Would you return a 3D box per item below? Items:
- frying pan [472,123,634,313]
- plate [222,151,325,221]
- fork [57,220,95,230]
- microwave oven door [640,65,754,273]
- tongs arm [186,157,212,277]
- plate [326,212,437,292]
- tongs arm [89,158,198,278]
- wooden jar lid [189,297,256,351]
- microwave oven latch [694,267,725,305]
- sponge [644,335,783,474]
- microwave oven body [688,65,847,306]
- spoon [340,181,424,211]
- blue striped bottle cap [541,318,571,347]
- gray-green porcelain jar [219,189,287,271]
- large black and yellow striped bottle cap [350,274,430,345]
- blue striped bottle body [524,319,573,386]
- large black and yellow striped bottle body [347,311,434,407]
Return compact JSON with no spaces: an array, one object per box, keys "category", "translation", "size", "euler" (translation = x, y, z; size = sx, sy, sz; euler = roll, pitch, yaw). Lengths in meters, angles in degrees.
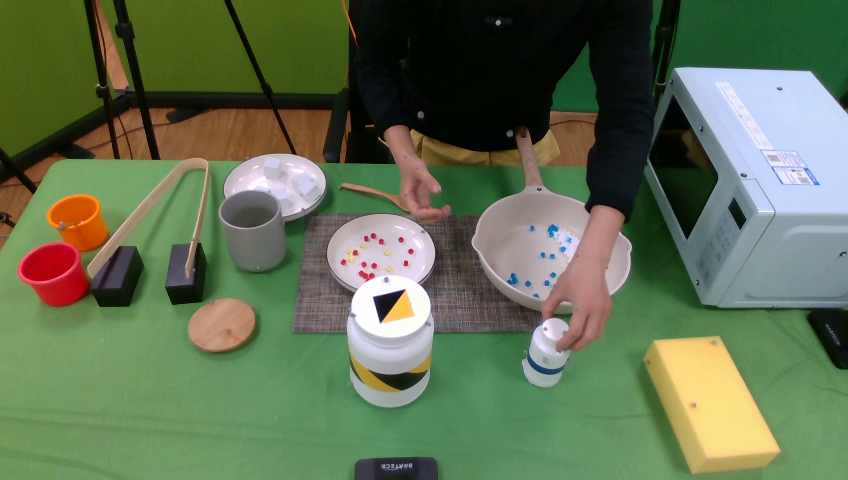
[{"category":"frying pan","translation":[0.235,-0.061,1.207],"size":[0.307,0.103,0.484],"euler":[2,54,-6]},{"category":"plate","translation":[-0.310,-0.106,1.263],"size":[0.208,0.039,0.206],"euler":[2,47,-2]},{"category":"fork","translation":[-0.624,-0.027,1.087],"size":[0.028,0.207,0.018],"euler":[-3,92,-17]},{"category":"microwave oven door","translation":[0.524,-0.148,1.193],"size":[0.039,0.245,0.353],"euler":[0,47,-3]},{"category":"tongs arm","translation":[-0.445,-0.058,1.168],"size":[0.051,0.026,0.382],"euler":[-5,37,-6]},{"category":"plate","translation":[-0.080,0.030,1.143],"size":[0.209,0.038,0.208],"euler":[3,46,-3]},{"category":"tongs arm","translation":[-0.529,-0.057,1.164],"size":[0.028,0.028,0.385],"euler":[1,36,8]},{"category":"wooden jar lid","translation":[-0.342,0.145,1.033],"size":[0.108,0.021,0.107],"euler":[2,45,-2]},{"category":"microwave oven latch","translation":[0.524,0.082,1.115],"size":[0.030,0.029,0.078],"euler":[3,46,0]},{"category":"sponge","translation":[0.448,0.253,0.956],"size":[0.118,0.061,0.205],"euler":[-3,47,-8]},{"category":"microwave oven body","translation":[0.669,-0.111,1.176],"size":[0.326,0.261,0.439],"euler":[0,46,-3]},{"category":"spoon","translation":[-0.090,-0.100,1.282],"size":[0.193,0.022,0.041],"euler":[18,65,13]},{"category":"blue striped bottle cap","translation":[0.203,0.142,0.934],"size":[0.044,0.021,0.044],"euler":[3,43,-2]},{"category":"gray-green porcelain jar","translation":[-0.310,-0.014,1.113],"size":[0.106,0.127,0.105],"euler":[2,46,-2]},{"category":"large black and yellow striped bottle cap","translation":[-0.048,0.097,0.868],"size":[0.115,0.019,0.114],"euler":[3,48,-3]},{"category":"blue striped bottle body","translation":[0.201,0.177,0.970],"size":[0.063,0.121,0.062],"euler":[2,46,-2]},{"category":"large black and yellow striped bottle body","translation":[-0.052,0.157,0.929],"size":[0.131,0.185,0.130],"euler":[2,47,-2]}]
